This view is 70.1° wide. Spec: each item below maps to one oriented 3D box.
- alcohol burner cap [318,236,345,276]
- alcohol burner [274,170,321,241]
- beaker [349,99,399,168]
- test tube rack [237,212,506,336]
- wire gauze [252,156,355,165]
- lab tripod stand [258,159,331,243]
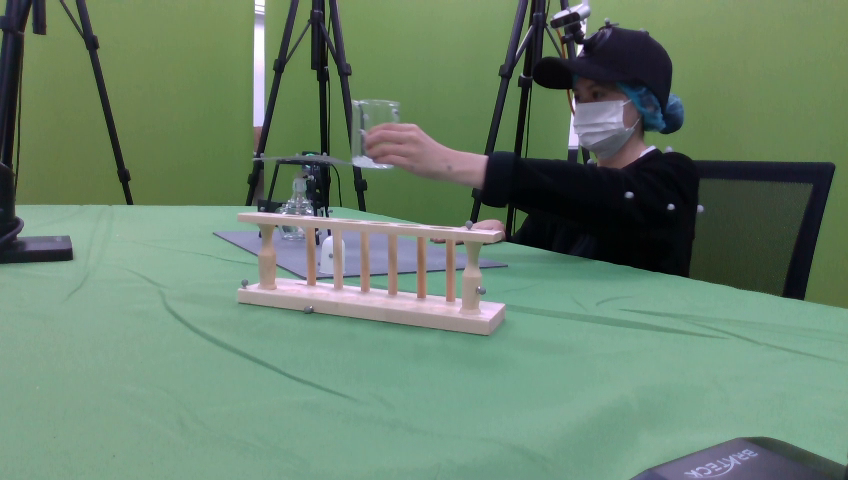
[{"bbox_3d":[-0.110,0.019,0.723,0.034,0.048,0.034,2,6,0],"label":"alcohol burner cap"},{"bbox_3d":[-0.211,-0.058,1.015,0.078,0.119,0.078,4,5,0],"label":"alcohol burner"},{"bbox_3d":[-0.079,-0.162,0.917,0.073,0.100,0.084,11,13,40],"label":"beaker"},{"bbox_3d":[-0.049,0.024,0.552,0.242,0.085,0.067,5,8,18],"label":"test tube rack"},{"bbox_3d":[-0.196,-0.133,0.999,0.121,0.011,0.125,5,6,21],"label":"wire gauze"},{"bbox_3d":[-0.202,-0.067,1.011,0.148,0.131,0.148,2,5,0],"label":"lab tripod stand"}]
